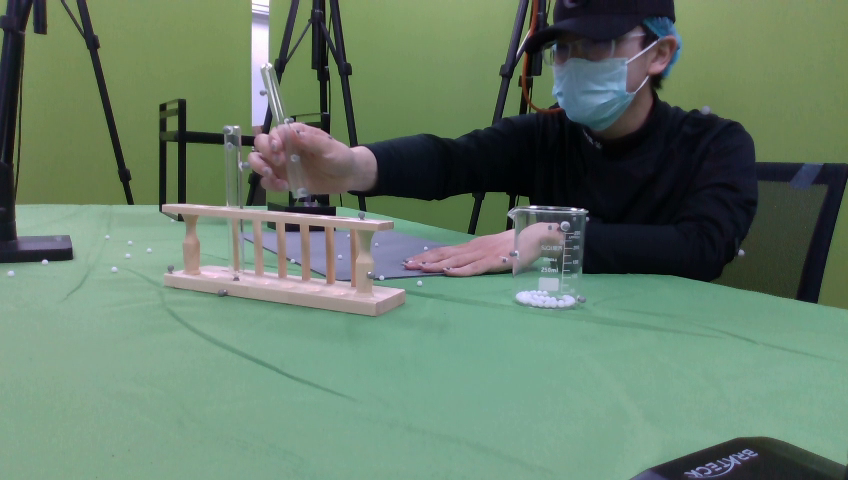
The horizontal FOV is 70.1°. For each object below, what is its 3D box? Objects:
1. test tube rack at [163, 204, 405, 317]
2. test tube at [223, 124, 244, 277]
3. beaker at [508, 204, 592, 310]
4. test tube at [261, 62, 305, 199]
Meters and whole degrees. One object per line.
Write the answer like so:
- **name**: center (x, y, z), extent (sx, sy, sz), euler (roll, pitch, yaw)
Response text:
- **test tube rack**: center (-0.141, 0.013, 0.600), extent (0.241, 0.085, 0.067), euler (5, 8, 21)
- **test tube**: center (-0.186, -0.037, 0.591), extent (0.017, 0.150, 0.017), euler (1, 11, 0)
- **beaker**: center (0.125, 0.016, 0.613), extent (0.084, 0.100, 0.074), euler (1, 7, -5)
- **test tube**: center (-0.153, -0.118, 0.657), extent (0.017, 0.150, 0.017), euler (-12, 4, 1)
